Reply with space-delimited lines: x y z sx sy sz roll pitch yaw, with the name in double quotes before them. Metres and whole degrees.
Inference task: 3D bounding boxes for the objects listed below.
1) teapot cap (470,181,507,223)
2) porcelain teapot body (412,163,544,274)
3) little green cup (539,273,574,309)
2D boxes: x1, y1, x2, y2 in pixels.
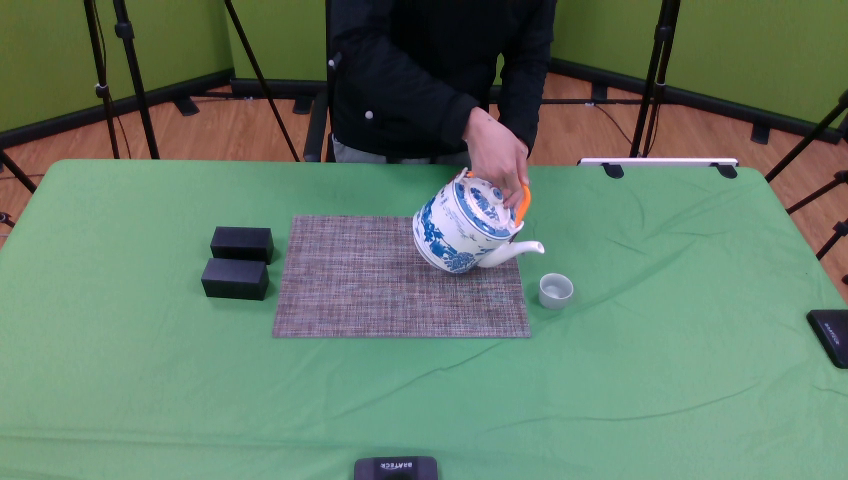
"teapot cap" 0.114 -0.067 1.032 0.085 0.044 0.084 24 49 -30
"porcelain teapot body" 0.112 -0.028 1.064 0.206 0.225 0.144 41 39 -11
"little green cup" 0.241 0.096 1.113 0.061 0.039 0.061 2 47 -2
